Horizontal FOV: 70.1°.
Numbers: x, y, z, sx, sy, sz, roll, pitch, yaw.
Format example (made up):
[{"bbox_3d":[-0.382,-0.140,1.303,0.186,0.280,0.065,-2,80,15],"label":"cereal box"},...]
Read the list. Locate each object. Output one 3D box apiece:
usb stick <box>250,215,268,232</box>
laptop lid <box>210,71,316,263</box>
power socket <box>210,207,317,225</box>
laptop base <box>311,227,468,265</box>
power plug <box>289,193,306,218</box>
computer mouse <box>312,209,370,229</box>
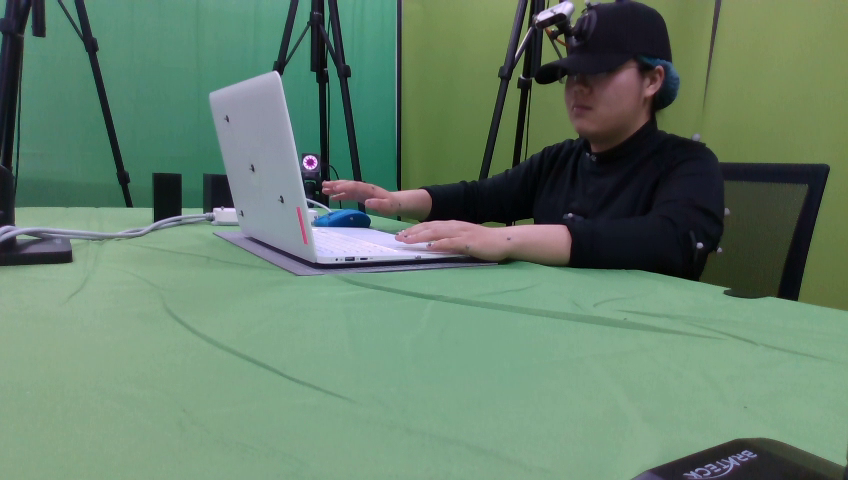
[{"bbox_3d":[-0.290,-0.028,1.069,0.021,0.027,0.059,0,11,-30],"label":"usb stick"},{"bbox_3d":[-0.241,-0.104,0.861,0.013,0.241,0.355,-16,17,-29],"label":"laptop lid"},{"bbox_3d":[-0.334,-0.051,1.281,0.228,0.032,0.072,-1,8,-28],"label":"power socket"},{"bbox_3d":[-0.123,0.007,0.951,0.237,0.023,0.352,2,6,-32],"label":"laptop base"},{"bbox_3d":[-0.281,-0.076,1.340,0.035,0.052,0.072,3,6,-17],"label":"power plug"},{"bbox_3d":[-0.174,-0.042,1.267,0.118,0.041,0.062,-6,14,-34],"label":"computer mouse"}]
